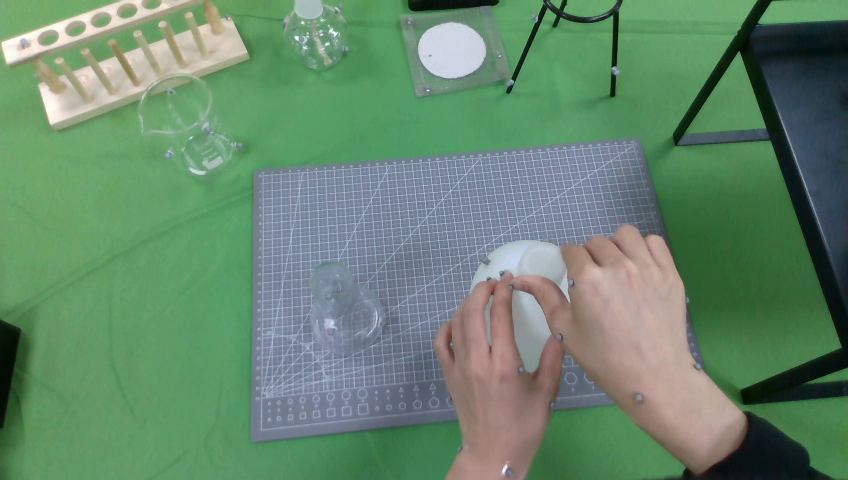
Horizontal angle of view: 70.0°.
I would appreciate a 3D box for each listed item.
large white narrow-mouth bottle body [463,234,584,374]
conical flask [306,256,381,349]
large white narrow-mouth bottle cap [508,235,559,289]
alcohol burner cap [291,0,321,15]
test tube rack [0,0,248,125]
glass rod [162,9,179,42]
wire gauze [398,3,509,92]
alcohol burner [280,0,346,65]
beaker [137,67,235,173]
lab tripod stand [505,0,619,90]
[{"bbox_3d":[0.087,0.052,0.535,0.102,0.196,0.101,-1,67,2],"label":"large white narrow-mouth bottle body"},{"bbox_3d":[-0.082,0.054,0.570,0.075,0.123,0.075,0,67,0],"label":"conical flask"},{"bbox_3d":[0.082,0.016,0.455,0.038,0.024,0.037,-1,67,2],"label":"large white narrow-mouth bottle cap"},{"bbox_3d":[-0.132,-0.280,0.677,0.034,0.048,0.033,4,65,-8],"label":"alcohol burner cap"},{"bbox_3d":[-0.342,-0.227,0.707,0.242,0.086,0.066,-24,70,-10],"label":"test tube rack"},{"bbox_3d":[-0.298,-0.289,0.661,0.008,0.201,0.008,2,65,-4],"label":"glass rod"},{"bbox_3d":[0.036,-0.247,0.761,0.121,0.011,0.124,-9,68,-6],"label":"wire gauze"},{"bbox_3d":[-0.132,-0.264,0.710,0.078,0.120,0.077,1,65,-1],"label":"alcohol burner"},{"bbox_3d":[-0.255,-0.123,0.657,0.073,0.101,0.084,40,73,15],"label":"beaker"},{"bbox_3d":[0.167,-0.243,0.694,0.148,0.132,0.147,1,66,-2],"label":"lab tripod stand"}]
